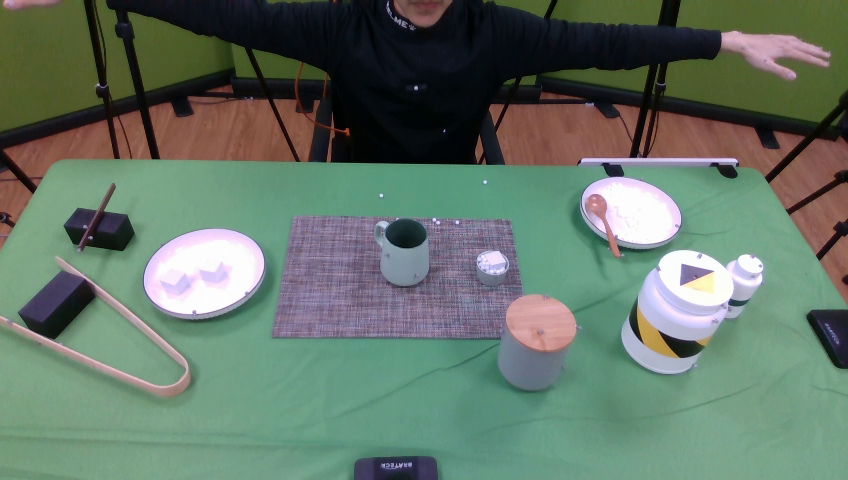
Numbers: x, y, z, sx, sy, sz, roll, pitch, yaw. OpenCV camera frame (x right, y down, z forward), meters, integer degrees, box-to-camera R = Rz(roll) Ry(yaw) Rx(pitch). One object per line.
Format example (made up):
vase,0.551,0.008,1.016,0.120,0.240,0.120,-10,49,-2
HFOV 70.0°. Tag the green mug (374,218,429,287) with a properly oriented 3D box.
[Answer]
green mug,-0.047,0.015,1.116,0.124,0.105,0.092,36,54,26

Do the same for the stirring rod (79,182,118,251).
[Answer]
stirring rod,-0.605,-0.047,1.130,0.006,0.014,0.175,0,47,0

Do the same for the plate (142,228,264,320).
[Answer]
plate,-0.394,0.064,1.095,0.208,0.039,0.206,2,46,-2

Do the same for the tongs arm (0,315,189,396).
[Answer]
tongs arm,-0.555,0.170,0.981,0.384,0.026,0.050,21,43,14

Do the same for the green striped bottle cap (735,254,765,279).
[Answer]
green striped bottle cap,0.566,0.046,1.051,0.044,0.020,0.044,0,45,0

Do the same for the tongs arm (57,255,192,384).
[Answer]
tongs arm,-0.517,0.126,1.033,0.386,0.028,0.028,30,43,23

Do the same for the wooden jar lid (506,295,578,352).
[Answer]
wooden jar lid,0.179,0.129,0.925,0.108,0.021,0.107,2,43,-2

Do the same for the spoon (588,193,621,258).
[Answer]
spoon,0.367,-0.032,1.220,0.041,0.022,0.192,1,38,-1

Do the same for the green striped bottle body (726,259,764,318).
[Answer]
green striped bottle body,0.563,0.081,1.089,0.063,0.120,0.063,2,46,-2

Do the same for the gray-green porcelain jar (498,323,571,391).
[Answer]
gray-green porcelain jar,0.176,0.172,0.971,0.106,0.127,0.105,2,46,-2

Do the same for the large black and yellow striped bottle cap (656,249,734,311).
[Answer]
large black and yellow striped bottle cap,0.419,0.061,0.938,0.115,0.019,0.114,2,47,-2

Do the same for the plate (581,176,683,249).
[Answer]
plate,0.430,-0.054,1.267,0.209,0.038,0.208,2,46,-2

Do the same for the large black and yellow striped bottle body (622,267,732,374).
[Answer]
large black and yellow striped bottle body,0.415,0.119,0.997,0.131,0.185,0.130,2,46,-2

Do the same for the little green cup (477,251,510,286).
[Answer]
little green cup,0.128,0.055,1.135,0.061,0.039,0.061,1,47,-1
